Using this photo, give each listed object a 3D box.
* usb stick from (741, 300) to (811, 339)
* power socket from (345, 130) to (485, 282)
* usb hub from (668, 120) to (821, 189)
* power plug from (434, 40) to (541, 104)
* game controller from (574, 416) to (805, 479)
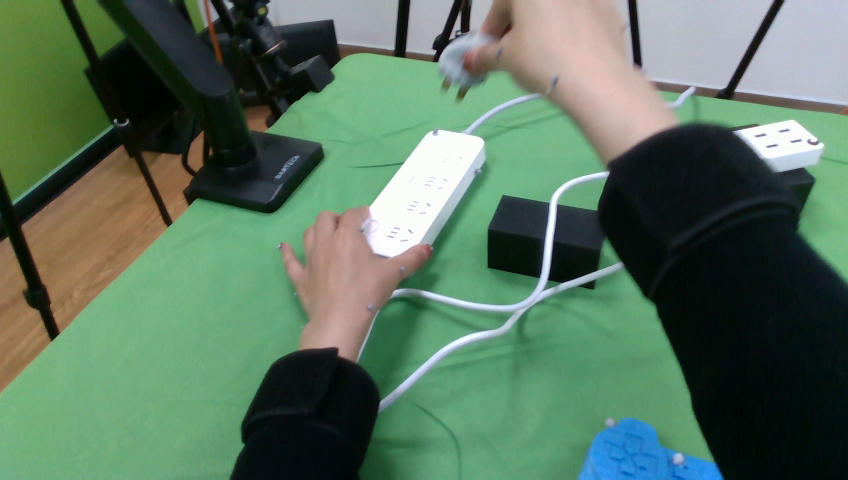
[{"bbox_3d":[0.287,0.064,0.486,0.059,0.027,0.021,7,20,-19],"label":"usb stick"},{"bbox_3d":[-0.003,-0.045,0.631,0.072,0.033,0.225,16,47,20],"label":"power socket"},{"bbox_3d":[0.303,-0.081,0.574,0.125,0.025,0.049,-12,44,-6],"label":"usb hub"},{"bbox_3d":[0.041,-0.116,0.448,0.072,0.053,0.035,32,52,8],"label":"power plug"},{"bbox_3d":[0.171,0.169,0.377,0.154,0.052,0.096,15,42,19],"label":"game controller"}]
